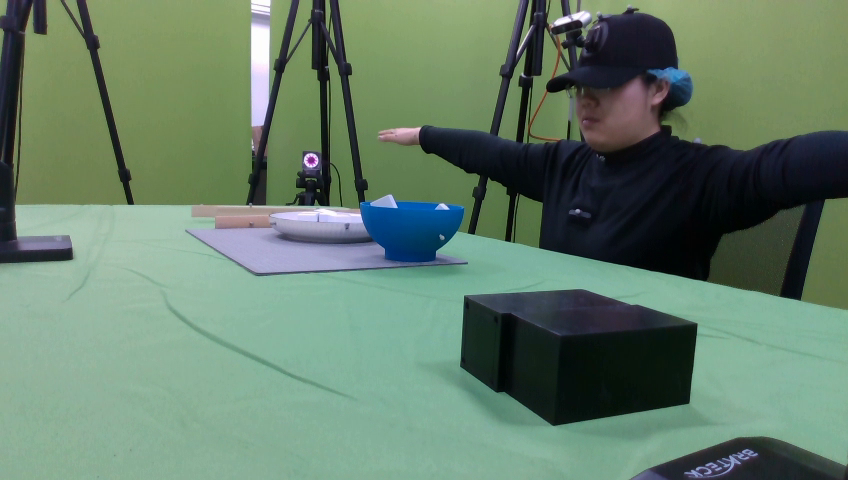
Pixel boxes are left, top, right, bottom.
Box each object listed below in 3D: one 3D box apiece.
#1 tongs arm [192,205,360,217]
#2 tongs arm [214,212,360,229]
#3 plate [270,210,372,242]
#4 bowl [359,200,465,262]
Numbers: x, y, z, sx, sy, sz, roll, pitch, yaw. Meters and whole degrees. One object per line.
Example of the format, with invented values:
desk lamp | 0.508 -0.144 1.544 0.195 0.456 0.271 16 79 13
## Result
tongs arm | -0.290 -0.057 1.299 0.387 0.026 0.050 -1 9 -32
tongs arm | -0.243 -0.043 1.237 0.390 0.028 0.028 -4 8 -44
plate | -0.161 -0.024 1.054 0.208 0.039 0.207 2 7 0
bowl | -0.018 -0.013 0.859 0.151 0.077 0.151 2 7 0
